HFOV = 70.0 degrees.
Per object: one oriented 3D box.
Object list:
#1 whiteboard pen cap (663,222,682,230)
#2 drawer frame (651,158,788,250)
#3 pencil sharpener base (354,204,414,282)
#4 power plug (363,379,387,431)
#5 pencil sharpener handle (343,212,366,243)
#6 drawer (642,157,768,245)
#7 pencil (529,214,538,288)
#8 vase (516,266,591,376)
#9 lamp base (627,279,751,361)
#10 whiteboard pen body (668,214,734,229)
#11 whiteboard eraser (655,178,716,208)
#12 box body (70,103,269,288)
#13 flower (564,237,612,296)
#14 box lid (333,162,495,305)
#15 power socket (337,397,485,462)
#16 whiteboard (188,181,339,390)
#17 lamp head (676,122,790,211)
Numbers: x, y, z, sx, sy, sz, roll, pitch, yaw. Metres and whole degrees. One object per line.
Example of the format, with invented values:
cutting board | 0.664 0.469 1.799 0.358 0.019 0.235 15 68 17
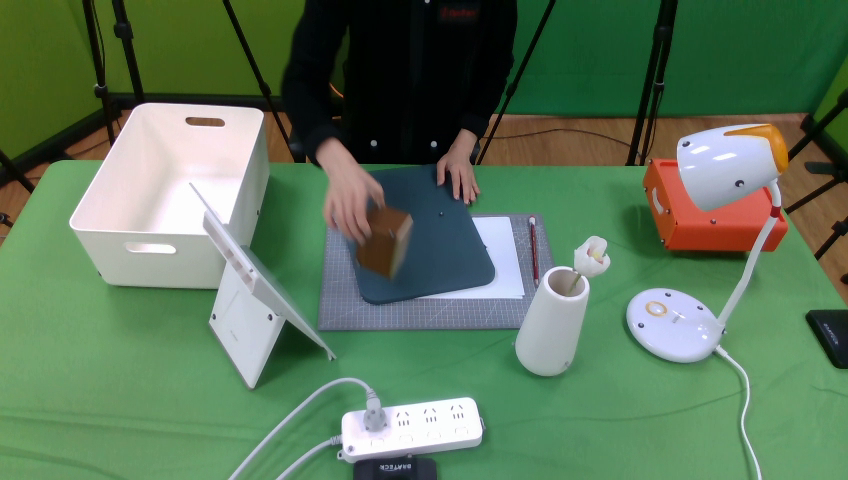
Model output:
whiteboard pen cap | 0.487 -0.027 1.188 0.033 0.018 0.018 0 46 -16
drawer frame | 0.571 -0.074 1.213 0.214 0.083 0.200 1 46 0
pencil sharpener base | -0.069 0.005 0.985 0.076 0.107 0.061 22 46 7
power plug | -0.072 0.252 0.910 0.035 0.053 0.072 3 45 -1
pencil sharpener handle | -0.114 -0.023 0.982 0.030 0.068 0.036 22 46 7
drawer | 0.564 -0.075 1.210 0.212 0.073 0.193 3 45 -1
pencil | 0.219 0.019 1.202 0.012 0.012 0.193 5 48 1
vase | 0.208 0.132 0.964 0.098 0.201 0.097 3 46 -3
lamp base | 0.459 0.100 1.027 0.178 0.181 0.160 27 51 17
whiteboard pen body | 0.547 -0.035 1.200 0.141 0.017 0.017 -8 48 -9
whiteboard eraser | 0.538 -0.095 1.251 0.113 0.042 0.055 4 52 -10
box body | -0.450 -0.087 1.148 0.254 0.161 0.361 2 46 -2
flower | 0.206 0.088 0.893 0.038 0.363 0.044 -16 67 -9
box lid | -0.030 -0.028 1.227 0.264 0.015 0.369 -10 47 -12
power socket | -0.018 0.285 0.915 0.227 0.033 0.071 -5 46 -8
whiteboard | -0.292 0.096 0.929 0.144 0.307 0.216 -38 57 -11
lamp head | 0.423 -0.104 0.819 0.122 0.113 0.112 -13 33 40
